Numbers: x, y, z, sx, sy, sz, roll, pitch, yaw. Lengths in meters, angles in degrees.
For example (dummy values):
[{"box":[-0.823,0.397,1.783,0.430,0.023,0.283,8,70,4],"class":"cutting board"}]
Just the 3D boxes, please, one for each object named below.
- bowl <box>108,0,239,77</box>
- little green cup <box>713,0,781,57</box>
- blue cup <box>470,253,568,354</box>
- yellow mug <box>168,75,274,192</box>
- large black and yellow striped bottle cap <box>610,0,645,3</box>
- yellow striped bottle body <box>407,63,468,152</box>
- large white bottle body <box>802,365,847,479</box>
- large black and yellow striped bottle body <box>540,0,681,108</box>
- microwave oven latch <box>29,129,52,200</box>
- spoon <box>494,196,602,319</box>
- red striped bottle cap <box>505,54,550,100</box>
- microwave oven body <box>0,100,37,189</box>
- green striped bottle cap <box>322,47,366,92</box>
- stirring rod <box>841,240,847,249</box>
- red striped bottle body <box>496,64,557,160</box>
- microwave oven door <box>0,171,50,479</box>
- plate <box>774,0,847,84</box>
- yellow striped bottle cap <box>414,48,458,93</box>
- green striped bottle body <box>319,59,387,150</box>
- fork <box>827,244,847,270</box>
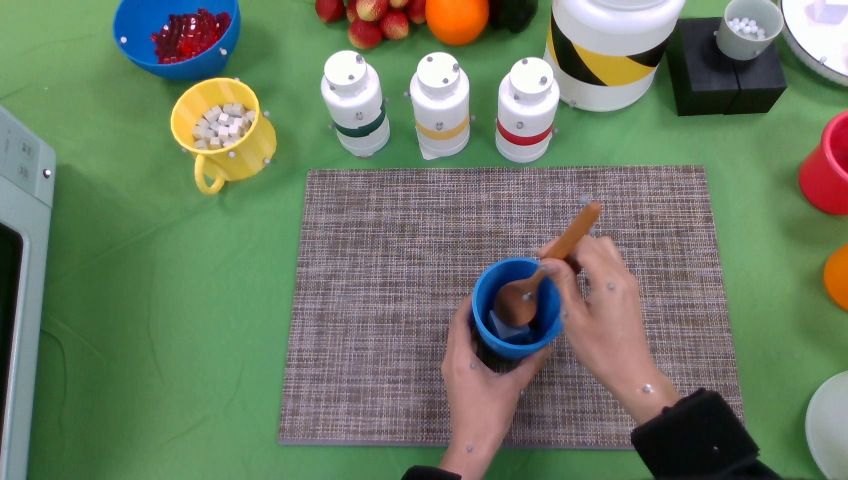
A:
[{"box":[-0.292,-0.255,0.744,0.151,0.077,0.150,-1,69,3],"class":"bowl"},{"box":[0.349,-0.233,0.660,0.061,0.039,0.061,-1,67,2],"class":"little green cup"},{"box":[0.086,0.069,0.577,0.092,0.101,0.092,-1,70,3],"class":"blue cup"},{"box":[-0.235,-0.116,0.692,0.100,0.064,0.130,9,70,7],"class":"yellow mug"},{"box":[0.192,-0.275,0.572,0.115,0.019,0.114,-2,67,4],"class":"large black and yellow striped bottle cap"},{"box":[0.016,-0.152,0.661,0.063,0.121,0.062,-2,68,4],"class":"yellow striped bottle body"},{"box":[0.411,0.146,0.482,0.130,0.186,0.129,-1,68,4],"class":"large white bottle body"},{"box":[0.199,-0.245,0.651,0.131,0.185,0.130,-1,68,4],"class":"large black and yellow striped bottle body"},{"box":[-0.446,-0.085,0.689,0.030,0.030,0.078,-7,69,1],"class":"microwave oven latch"},{"box":[0.099,0.022,0.502,0.021,0.194,0.041,-39,77,-28],"class":"spoon"},{"box":[0.104,-0.163,0.603,0.044,0.018,0.044,0,67,0],"class":"red striped bottle cap"},{"box":[-0.573,0.065,0.536,0.326,0.262,0.438,-9,69,0],"class":"microwave oven body"},{"box":[-0.083,-0.175,0.620,0.044,0.020,0.044,-1,67,3],"class":"green striped bottle cap"},{"box":[0.440,0.038,0.548,0.014,0.006,0.174,-7,25,1],"class":"stirring rod"},{"box":[0.109,-0.142,0.651,0.063,0.120,0.062,-3,66,7],"class":"red striped bottle body"},{"box":[-0.423,0.079,0.515,0.039,0.245,0.353,-9,68,1],"class":"microwave oven door"},{"box":[0.518,-0.263,0.715,0.209,0.038,0.207,-1,69,3],"class":"plate"},{"box":[0.012,-0.172,0.613,0.044,0.019,0.044,-1,70,3],"class":"yellow striped bottle cap"},{"box":[-0.078,-0.155,0.669,0.063,0.120,0.062,-1,68,3],"class":"green striped bottle body"},{"box":[0.468,0.039,0.540,0.028,0.019,0.205,-34,26,-14],"class":"fork"}]
